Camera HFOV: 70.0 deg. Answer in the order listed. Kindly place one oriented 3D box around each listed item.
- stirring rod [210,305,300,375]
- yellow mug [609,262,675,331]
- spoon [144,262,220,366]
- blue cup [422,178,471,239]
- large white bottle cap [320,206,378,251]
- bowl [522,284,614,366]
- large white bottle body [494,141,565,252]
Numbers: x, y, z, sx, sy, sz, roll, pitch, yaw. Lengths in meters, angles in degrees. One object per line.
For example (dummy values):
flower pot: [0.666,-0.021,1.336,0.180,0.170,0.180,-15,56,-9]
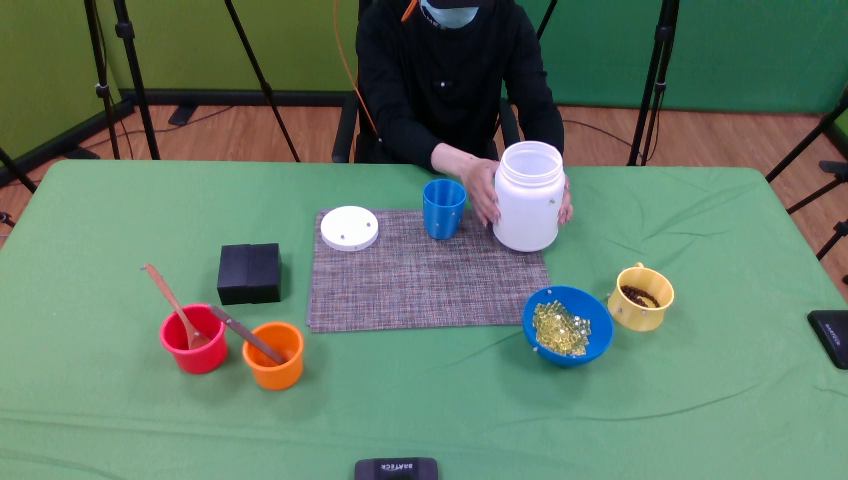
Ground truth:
stirring rod: [-0.262,0.158,0.946,0.177,0.006,0.014,43,43,-21]
yellow mug: [0.393,0.094,1.103,0.100,0.064,0.130,7,45,3]
spoon: [-0.389,0.118,0.970,0.041,0.021,0.194,-34,101,-32]
blue cup: [0.035,-0.056,1.192,0.093,0.101,0.092,3,45,-3]
large white bottle cap: [-0.150,-0.024,1.207,0.115,0.018,0.114,2,46,-2]
bowl: [0.235,0.158,1.022,0.151,0.077,0.150,2,46,-2]
large white bottle body: [0.199,-0.084,1.156,0.130,0.185,0.130,-3,45,3]
